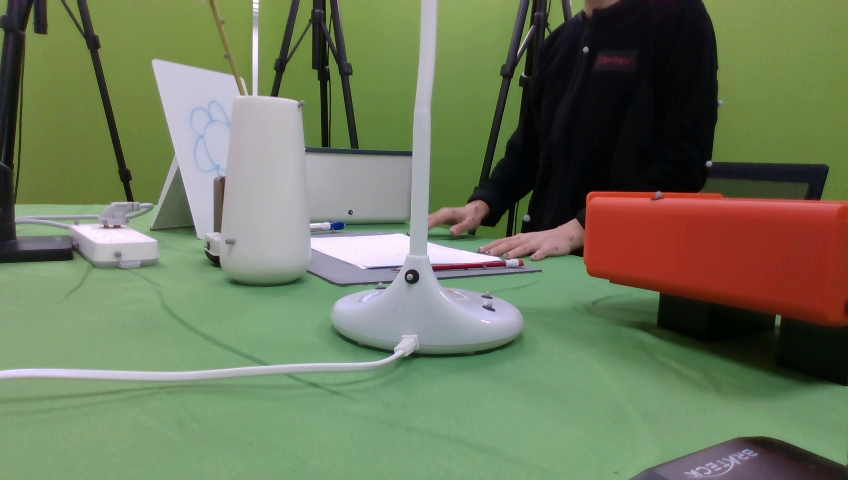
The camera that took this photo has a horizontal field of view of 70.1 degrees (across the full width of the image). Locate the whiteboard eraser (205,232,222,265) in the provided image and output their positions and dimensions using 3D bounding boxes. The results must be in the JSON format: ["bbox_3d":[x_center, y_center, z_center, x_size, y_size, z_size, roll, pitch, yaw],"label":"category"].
[{"bbox_3d":[-0.219,0.010,0.778,0.113,0.042,0.055,-3,7,-33],"label":"whiteboard eraser"}]

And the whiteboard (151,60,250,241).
[{"bbox_3d":[-0.408,-0.139,1.094,0.143,0.305,0.218,-15,-1,26],"label":"whiteboard"}]

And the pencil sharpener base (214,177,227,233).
[{"bbox_3d":[-0.265,-0.036,0.870,0.061,0.107,0.076,-2,8,-29],"label":"pencil sharpener base"}]

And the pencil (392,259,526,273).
[{"bbox_3d":[0.049,0.035,0.782,0.195,0.012,0.012,-2,9,-25],"label":"pencil"}]

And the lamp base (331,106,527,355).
[{"bbox_3d":[0.006,-0.012,0.478,0.161,0.180,0.179,2,10,2],"label":"lamp base"}]

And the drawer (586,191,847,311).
[{"bbox_3d":[0.281,0.000,0.513,0.195,0.073,0.210,-1,7,-29],"label":"drawer"}]

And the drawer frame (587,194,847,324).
[{"bbox_3d":[0.285,0.004,0.508,0.203,0.082,0.212,-1,6,-29],"label":"drawer frame"}]

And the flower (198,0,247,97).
[{"bbox_3d":[-0.187,-0.133,0.648,0.038,0.362,0.044,-1,22,43],"label":"flower"}]

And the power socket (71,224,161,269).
[{"bbox_3d":[-0.408,0.004,0.793,0.072,0.032,0.225,-2,8,-38],"label":"power socket"}]

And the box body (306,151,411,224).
[{"bbox_3d":[-0.230,-0.126,1.371,0.366,0.160,0.253,-2,8,-33],"label":"box body"}]

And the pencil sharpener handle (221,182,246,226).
[{"bbox_3d":[-0.289,-0.055,0.912,0.036,0.067,0.030,-3,9,-29],"label":"pencil sharpener handle"}]

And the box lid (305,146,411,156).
[{"bbox_3d":[-0.229,-0.200,1.361,0.373,0.015,0.262,-3,9,-32],"label":"box lid"}]

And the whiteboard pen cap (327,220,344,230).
[{"bbox_3d":[-0.166,-0.027,1.124,0.018,0.018,0.033,9,10,41],"label":"whiteboard pen cap"}]

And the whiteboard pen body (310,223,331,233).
[{"bbox_3d":[-0.207,-0.021,1.081,0.017,0.017,0.141,9,10,41],"label":"whiteboard pen body"}]

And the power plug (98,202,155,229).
[{"bbox_3d":[-0.416,-0.026,0.848,0.073,0.052,0.035,0,8,-28],"label":"power plug"}]

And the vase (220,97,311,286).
[{"bbox_3d":[-0.172,-0.052,0.662,0.098,0.200,0.098,3,9,0],"label":"vase"}]
